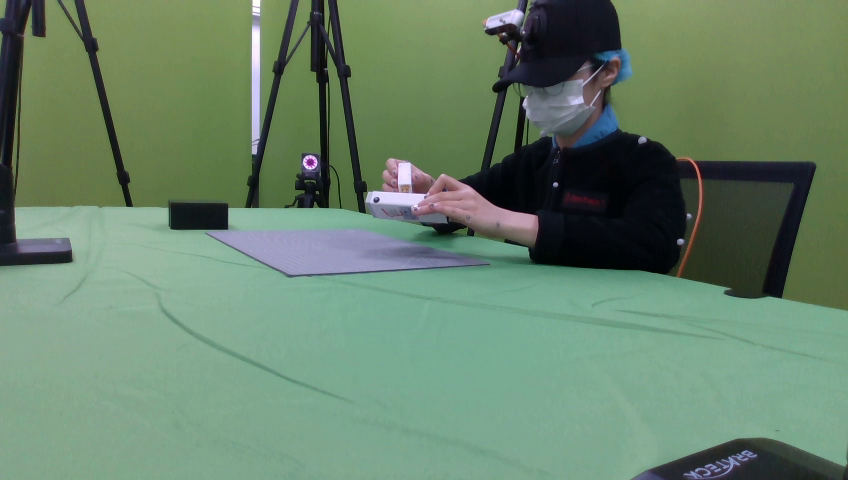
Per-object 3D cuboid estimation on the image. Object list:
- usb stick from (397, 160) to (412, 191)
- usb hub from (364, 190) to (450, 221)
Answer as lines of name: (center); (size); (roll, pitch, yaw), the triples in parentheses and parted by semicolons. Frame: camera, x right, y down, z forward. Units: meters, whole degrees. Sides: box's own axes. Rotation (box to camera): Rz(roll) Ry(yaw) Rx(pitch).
usb stick: (-0.031, -0.095, 0.953); (0.021, 0.059, 0.027); (-4, -36, 3)
usb hub: (-0.026, -0.053, 0.929); (0.125, 0.025, 0.049); (4, -27, 17)
